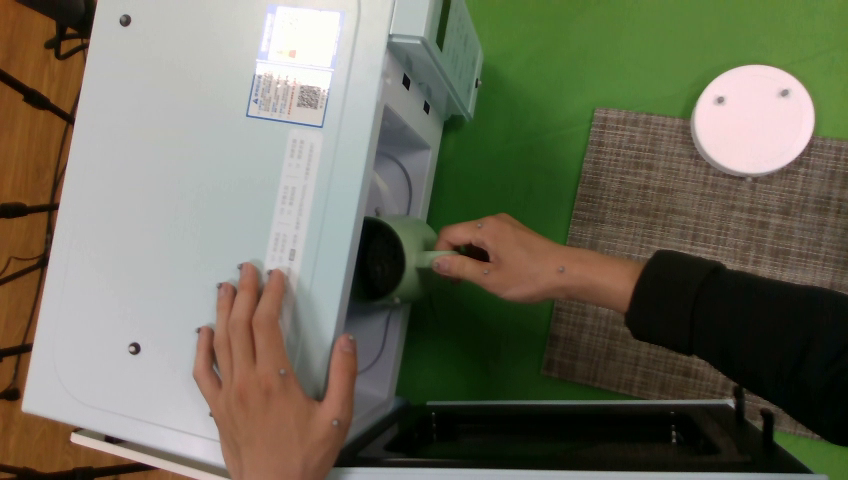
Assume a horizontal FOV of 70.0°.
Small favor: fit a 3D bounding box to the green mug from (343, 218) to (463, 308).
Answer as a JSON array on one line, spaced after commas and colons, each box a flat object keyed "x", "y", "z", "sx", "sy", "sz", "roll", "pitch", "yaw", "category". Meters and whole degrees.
[{"x": -0.025, "y": 0.021, "z": 0.588, "sx": 0.125, "sy": 0.105, "sz": 0.092, "roll": -2, "pitch": 87, "yaw": 10, "category": "green mug"}]

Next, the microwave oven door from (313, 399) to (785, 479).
[{"x": 0.114, "y": 0.184, "z": 0.533, "sx": 0.355, "sy": 0.245, "sz": 0.039, "roll": -5, "pitch": 85, "yaw": 13, "category": "microwave oven door"}]

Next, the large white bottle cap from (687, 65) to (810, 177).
[{"x": 0.334, "y": -0.123, "z": 0.627, "sx": 0.114, "sy": 0.018, "sz": 0.114, "roll": -1, "pitch": 86, "yaw": 12, "category": "large white bottle cap"}]

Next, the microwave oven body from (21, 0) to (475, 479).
[{"x": -0.153, "y": -0.035, "z": 0.610, "sx": 0.325, "sy": 0.261, "sz": 0.441, "roll": 10, "pitch": 90, "yaw": 13, "category": "microwave oven body"}]

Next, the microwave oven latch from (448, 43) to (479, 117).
[{"x": 0.042, "y": -0.179, "z": 0.672, "sx": 0.030, "sy": 0.029, "sz": 0.079, "roll": 10, "pitch": 90, "yaw": 13, "category": "microwave oven latch"}]
